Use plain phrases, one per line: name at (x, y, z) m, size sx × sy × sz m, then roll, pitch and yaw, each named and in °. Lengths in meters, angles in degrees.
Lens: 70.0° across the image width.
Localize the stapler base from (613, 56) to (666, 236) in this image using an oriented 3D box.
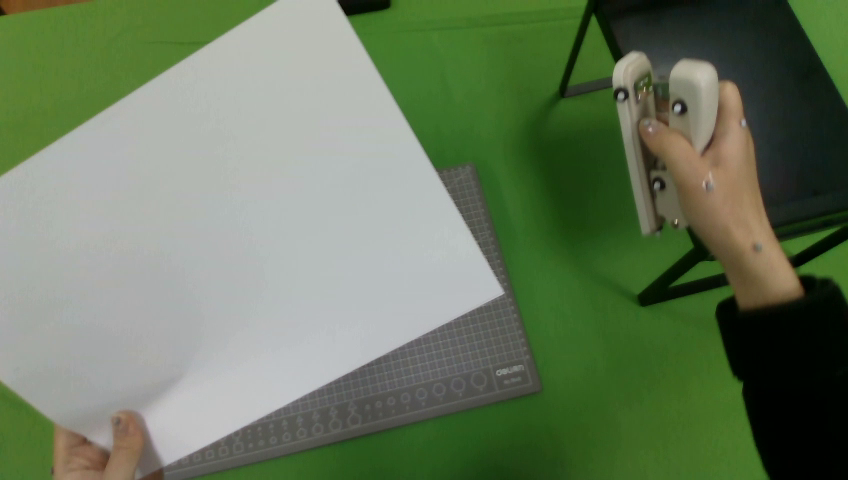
stapler base at (0.166, -0.066, 0.437) m, size 0.041 × 0.131 × 0.024 m, roll -35°, pitch 30°, yaw -31°

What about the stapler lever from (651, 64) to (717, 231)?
stapler lever at (0.183, -0.062, 0.420) m, size 0.027 × 0.119 × 0.040 m, roll -35°, pitch 30°, yaw -31°
